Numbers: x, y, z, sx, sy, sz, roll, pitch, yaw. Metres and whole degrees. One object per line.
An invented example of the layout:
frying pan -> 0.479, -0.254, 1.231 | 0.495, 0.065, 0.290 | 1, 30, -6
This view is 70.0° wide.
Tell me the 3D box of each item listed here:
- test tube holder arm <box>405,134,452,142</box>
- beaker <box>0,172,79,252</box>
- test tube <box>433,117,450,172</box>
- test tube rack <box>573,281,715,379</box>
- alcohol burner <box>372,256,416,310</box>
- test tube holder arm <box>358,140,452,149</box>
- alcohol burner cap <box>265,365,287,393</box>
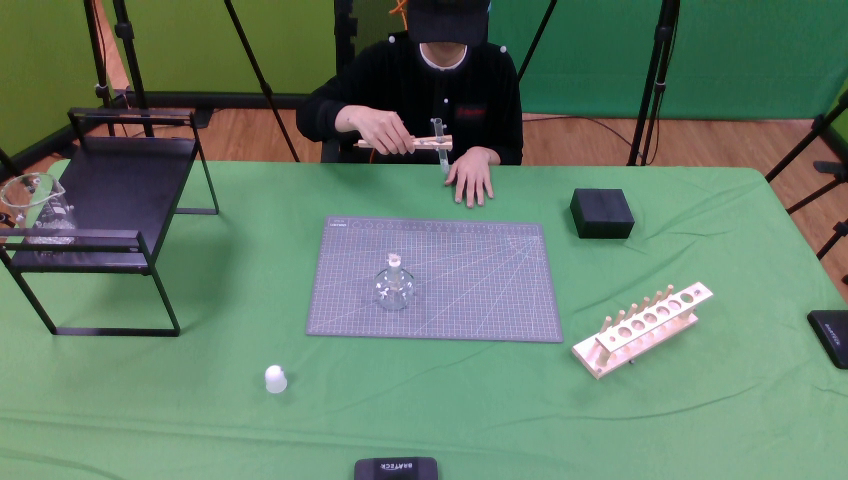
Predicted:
test tube holder arm -> 0.009, -0.186, 1.132 | 0.088, 0.015, 0.010 | -7, 55, 2
beaker -> -0.557, -0.038, 0.889 | 0.084, 0.101, 0.073 | -3, 47, -8
test tube -> 0.034, -0.176, 1.140 | 0.017, 0.151, 0.017 | -4, 60, 7
test tube rack -> 0.378, 0.140, 1.038 | 0.242, 0.085, 0.066 | -22, 51, -23
alcohol burner -> -0.052, 0.068, 1.057 | 0.078, 0.120, 0.077 | 1, 48, -1
test tube holder arm -> -0.036, -0.179, 1.133 | 0.178, 0.015, 0.013 | 0, 55, 6
alcohol burner cap -> -0.236, 0.216, 0.956 | 0.034, 0.048, 0.033 | 3, 46, -3
